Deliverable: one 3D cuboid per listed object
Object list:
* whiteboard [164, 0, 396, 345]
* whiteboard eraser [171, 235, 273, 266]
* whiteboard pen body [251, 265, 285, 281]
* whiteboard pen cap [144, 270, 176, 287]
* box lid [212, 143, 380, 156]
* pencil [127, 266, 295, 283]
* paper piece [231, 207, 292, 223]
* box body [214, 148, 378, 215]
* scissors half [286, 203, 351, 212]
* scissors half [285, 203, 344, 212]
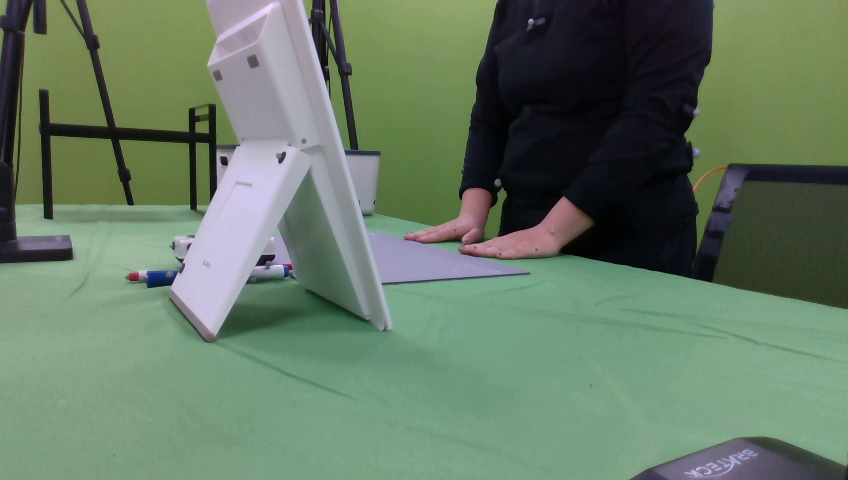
[{"bbox_3d":[-0.173,-0.053,0.511,0.144,0.305,0.216,-23,19,-26],"label":"whiteboard"},{"bbox_3d":[-0.248,0.014,0.747,0.113,0.042,0.055,-1,10,-32],"label":"whiteboard eraser"},{"bbox_3d":[-0.220,0.038,0.656,0.141,0.017,0.017,-1,9,-31],"label":"whiteboard pen body"},{"bbox_3d":[-0.271,0.039,0.627,0.033,0.018,0.018,-4,10,-32],"label":"whiteboard pen cap"},{"bbox_3d":[-0.326,-0.227,1.533,0.373,0.015,0.262,-2,8,-32],"label":"box lid"},{"bbox_3d":[-0.231,0.037,0.691,0.195,0.012,0.012,-2,9,-34],"label":"pencil"},{"bbox_3d":[-0.395,-0.062,1.461,0.139,0.008,0.135,14,-4,-21],"label":"paper piece"},{"bbox_3d":[-0.328,-0.154,1.543,0.366,0.160,0.253,-2,9,-32],"label":"box body"},{"bbox_3d":[-0.268,-0.079,1.535,0.176,0.013,0.040,-7,12,-23],"label":"scissors half"},{"bbox_3d":[-0.280,-0.082,1.552,0.040,0.013,0.176,1,9,45],"label":"scissors half"}]
